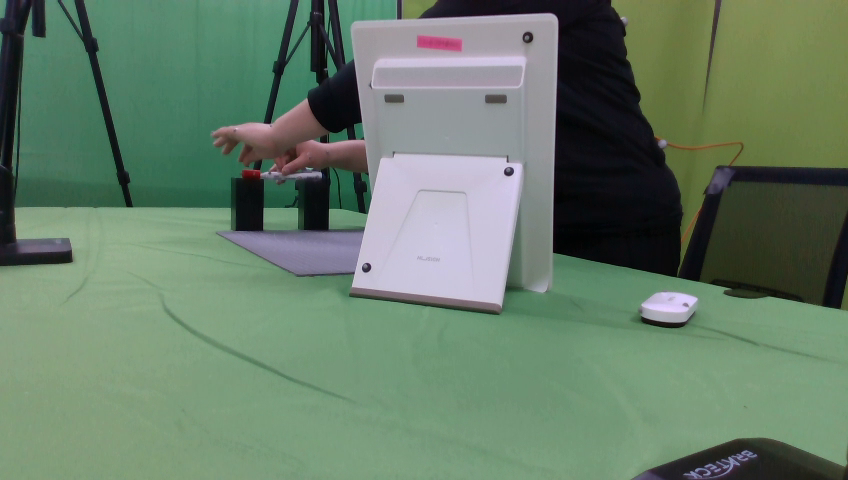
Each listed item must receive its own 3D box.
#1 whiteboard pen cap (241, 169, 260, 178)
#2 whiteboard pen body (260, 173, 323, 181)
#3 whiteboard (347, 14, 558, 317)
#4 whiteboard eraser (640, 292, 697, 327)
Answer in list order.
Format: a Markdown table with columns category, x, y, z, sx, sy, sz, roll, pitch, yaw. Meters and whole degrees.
| category | x | y | z | sx | sy | sz | roll | pitch | yaw |
| --- | --- | --- | --- | --- | --- | --- | --- | --- | --- |
| whiteboard pen cap | -0.326 | -0.125 | 1.141 | 0.032 | 0.017 | 0.017 | 1 | 7 | -28 |
| whiteboard pen body | -0.264 | -0.123 | 1.178 | 0.141 | 0.017 | 0.017 | -3 | 9 | -32 |
| whiteboard | 0.012 | -0.056 | 0.609 | 0.216 | 0.305 | 0.144 | 5 | 27 | 20 |
| whiteboard eraser | 0.240 | 0.066 | 0.590 | 0.041 | 0.019 | 0.102 | 7 | 7 | 31 |
